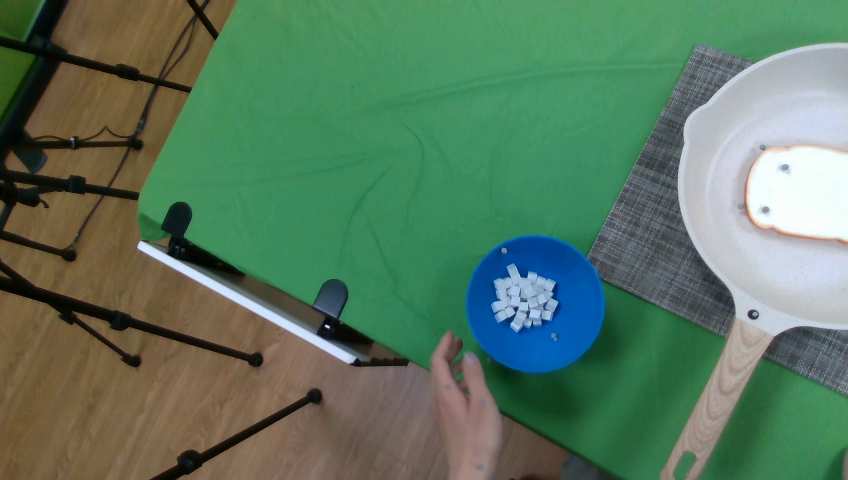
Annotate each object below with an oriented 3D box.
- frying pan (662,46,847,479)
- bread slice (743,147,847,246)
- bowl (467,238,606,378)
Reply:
[{"bbox_3d":[0.360,0.037,0.612,0.305,0.103,0.487,29,81,19],"label":"frying pan"},{"bbox_3d":[0.418,-0.046,0.652,0.134,0.018,0.106,4,82,14],"label":"bread slice"},{"bbox_3d":[0.130,0.079,0.688,0.151,0.077,0.151,-3,80,15],"label":"bowl"}]
